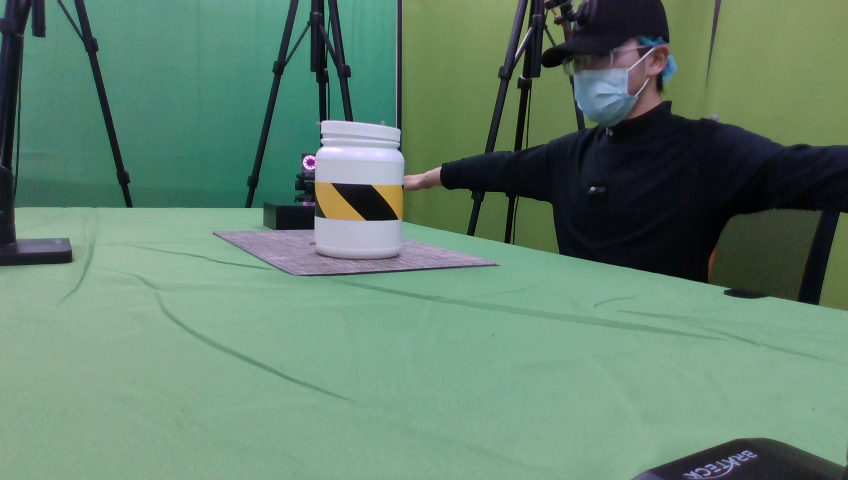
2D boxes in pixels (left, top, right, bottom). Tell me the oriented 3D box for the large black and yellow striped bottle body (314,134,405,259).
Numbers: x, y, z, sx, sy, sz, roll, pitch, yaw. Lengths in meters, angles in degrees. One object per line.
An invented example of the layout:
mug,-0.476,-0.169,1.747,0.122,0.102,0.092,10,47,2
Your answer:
large black and yellow striped bottle body,-0.095,-0.072,0.886,0.131,0.184,0.130,2,8,0

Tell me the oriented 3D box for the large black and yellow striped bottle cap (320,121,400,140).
large black and yellow striped bottle cap,-0.091,-0.157,0.873,0.115,0.019,0.115,4,6,0
